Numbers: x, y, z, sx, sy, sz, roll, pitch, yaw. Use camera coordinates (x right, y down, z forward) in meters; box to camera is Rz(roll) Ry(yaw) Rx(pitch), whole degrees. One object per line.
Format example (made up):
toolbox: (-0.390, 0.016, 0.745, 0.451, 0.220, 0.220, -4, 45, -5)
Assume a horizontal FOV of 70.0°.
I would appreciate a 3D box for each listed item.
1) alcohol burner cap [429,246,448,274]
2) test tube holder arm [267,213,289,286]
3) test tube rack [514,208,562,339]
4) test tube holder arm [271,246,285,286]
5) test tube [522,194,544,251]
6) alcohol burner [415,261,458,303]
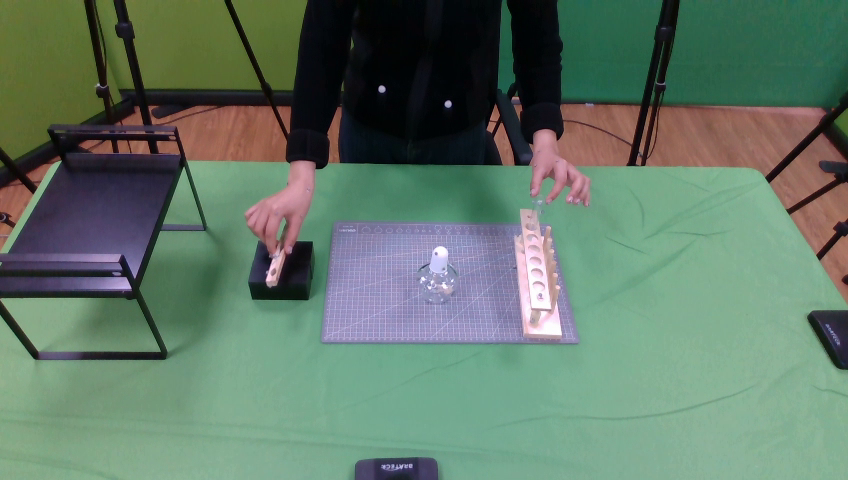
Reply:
alcohol burner cap: (0.027, 0.032, 1.052, 0.034, 0.048, 0.033, 4, 41, -3)
test tube holder arm: (-0.259, 0.013, 1.083, 0.013, 0.015, 0.177, 5, 43, -6)
test tube rack: (0.212, 0.056, 1.113, 0.067, 0.085, 0.241, 3, 46, -1)
test tube holder arm: (-0.253, 0.045, 1.051, 0.010, 0.015, 0.087, 5, 43, -5)
test tube: (0.202, -0.029, 1.125, 0.017, 0.151, 0.017, 2, 50, -2)
alcohol burner: (0.024, 0.057, 1.078, 0.078, 0.119, 0.077, 3, 44, -2)
